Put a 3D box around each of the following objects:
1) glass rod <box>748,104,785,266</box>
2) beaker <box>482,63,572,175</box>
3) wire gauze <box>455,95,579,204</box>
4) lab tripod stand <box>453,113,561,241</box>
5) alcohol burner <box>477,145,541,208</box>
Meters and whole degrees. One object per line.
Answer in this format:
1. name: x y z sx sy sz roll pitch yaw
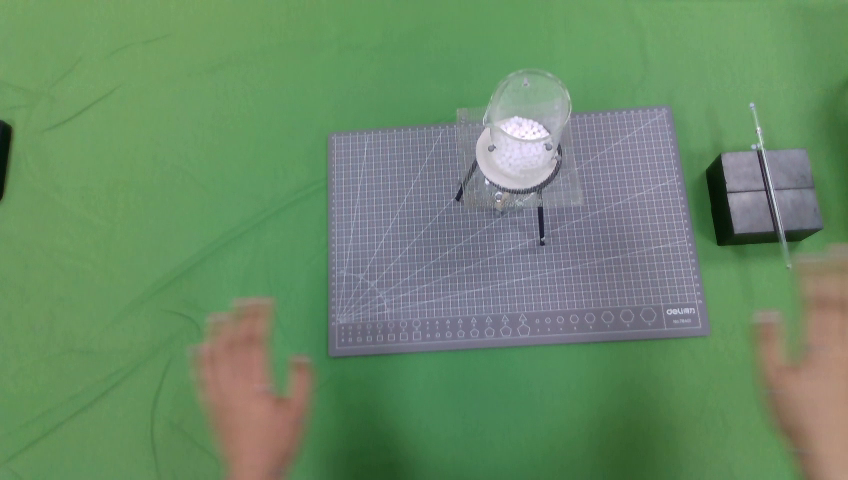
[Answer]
1. glass rod: 0.395 -0.067 0.699 0.008 0.008 0.198 -3 75 3
2. beaker: 0.096 -0.112 0.594 0.084 0.101 0.073 -19 73 -1
3. wire gauze: 0.097 -0.095 0.640 0.125 0.011 0.121 -2 75 1
4. lab tripod stand: 0.105 -0.081 0.704 0.148 0.132 0.147 -1 73 4
5. alcohol burner: 0.101 -0.082 0.714 0.078 0.120 0.077 -1 76 3
